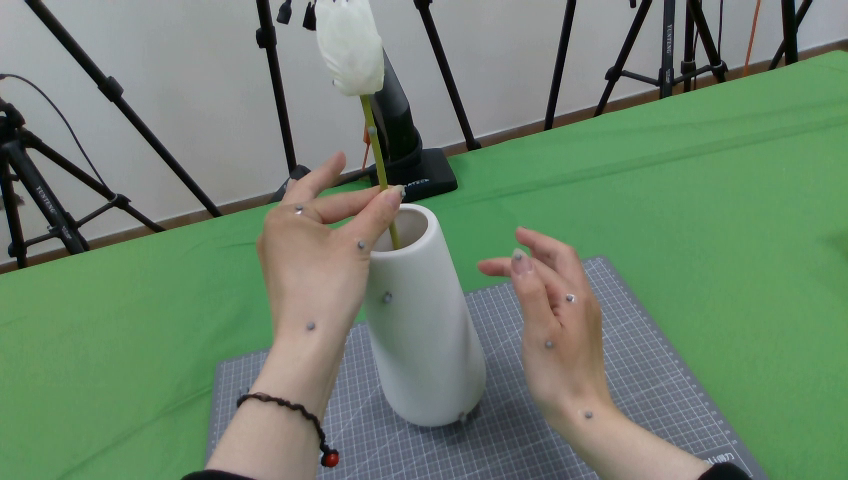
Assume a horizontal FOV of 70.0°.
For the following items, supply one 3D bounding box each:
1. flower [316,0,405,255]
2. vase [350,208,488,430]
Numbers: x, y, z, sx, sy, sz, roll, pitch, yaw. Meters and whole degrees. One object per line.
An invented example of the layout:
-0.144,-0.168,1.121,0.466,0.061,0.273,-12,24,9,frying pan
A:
-0.017,0.010,0.454,0.038,0.365,0.043,-23,31,-18,flower
-0.004,0.071,0.519,0.098,0.202,0.097,-9,36,7,vase
